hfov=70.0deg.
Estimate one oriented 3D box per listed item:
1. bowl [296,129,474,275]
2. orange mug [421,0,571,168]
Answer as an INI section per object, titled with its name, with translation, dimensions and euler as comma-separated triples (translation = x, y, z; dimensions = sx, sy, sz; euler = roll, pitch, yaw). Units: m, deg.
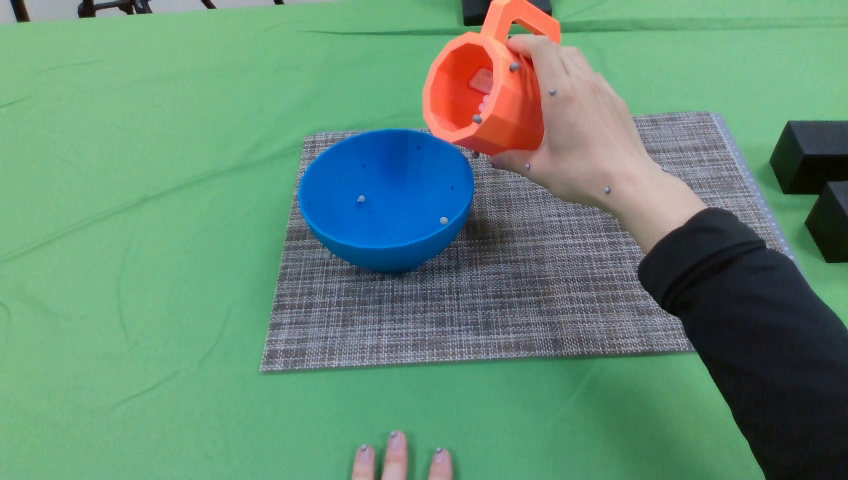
[bowl]
translation = -0.031, -0.022, 0.538
dimensions = 0.151, 0.077, 0.150
euler = -2, 47, 3
[orange mug]
translation = 0.065, -0.129, 0.503
dimensions = 0.101, 0.126, 0.082
euler = 3, 19, -42
